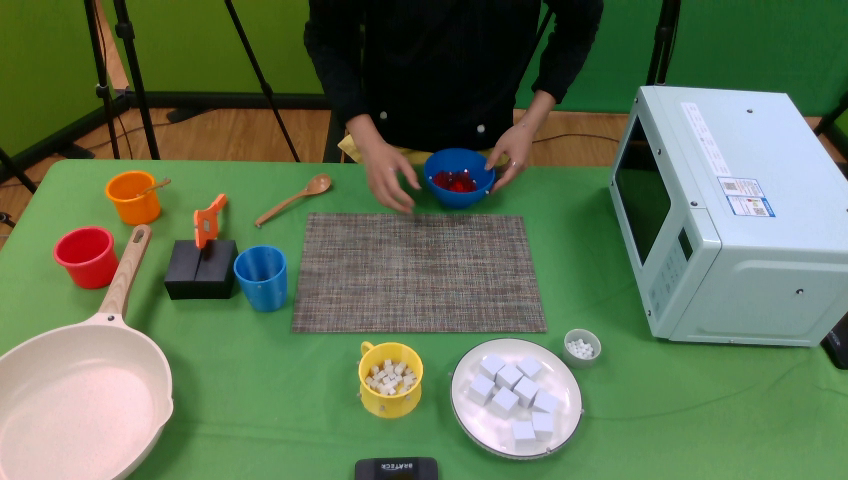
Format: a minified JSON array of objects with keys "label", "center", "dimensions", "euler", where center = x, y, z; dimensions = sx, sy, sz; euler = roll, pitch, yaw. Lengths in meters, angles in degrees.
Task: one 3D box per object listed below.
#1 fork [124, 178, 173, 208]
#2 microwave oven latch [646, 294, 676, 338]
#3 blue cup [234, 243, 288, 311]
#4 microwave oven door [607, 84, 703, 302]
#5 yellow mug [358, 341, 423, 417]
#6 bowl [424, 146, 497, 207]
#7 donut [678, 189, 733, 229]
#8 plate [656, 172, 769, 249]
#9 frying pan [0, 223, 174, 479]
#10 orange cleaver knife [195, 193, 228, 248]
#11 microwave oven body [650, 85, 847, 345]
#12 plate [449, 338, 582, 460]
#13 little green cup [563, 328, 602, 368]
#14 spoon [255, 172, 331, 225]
[{"label":"fork","center":[-0.525,-0.090,1.153],"dimensions":[0.207,0.019,0.028],"euler":[-18,27,45]},{"label":"microwave oven latch","center":[0.412,0.133,1.061],"dimensions":[0.030,0.029,0.078],"euler":[3,46,0]},{"label":"blue cup","center":[-0.276,0.072,1.052],"dimensions":[0.093,0.101,0.092],"euler":[1,48,-1]},{"label":"microwave oven door","center":[0.424,-0.096,1.138],"dimensions":[0.039,0.245,0.353],"euler":[3,46,-1]},{"label":"yellow mug","center":[-0.062,0.210,0.961],"dimensions":[0.100,0.064,0.130],"euler":[-29,54,-27]},{"label":"bowl","center":[0.074,-0.123,1.278],"dimensions":[0.151,0.077,0.150],"euler":[2,46,-2]},{"label":"donut","center":[0.544,-0.062,1.174],"dimensions":[0.099,0.048,0.098],"euler":[1,42,0]},{"label":"plate","center":[0.557,-0.054,1.186],"dimensions":[0.209,0.038,0.208],"euler":[1,44,-1]},{"label":"frying pan","center":[-0.504,0.169,0.941],"dimensions":[0.307,0.103,0.485],"euler":[5,54,-1]},{"label":"orange cleaver knife","center":[-0.406,-0.041,1.163],"dimensions":[0.012,0.077,0.210],"euler":[0,18,-3]},{"label":"microwave oven body","center":[0.569,-0.054,1.116],"dimensions":[0.326,0.261,0.439],"euler":[2,46,-1]},{"label":"plate","center":[0.141,0.251,0.955],"dimensions":[0.208,0.039,0.206],"euler":[2,46,-2]},{"label":"little green cup","center":[0.265,0.184,1.025],"dimensions":[0.061,0.039,0.061],"euler":[2,46,-2]},{"label":"spoon","center":[-0.272,-0.087,1.257],"dimensions":[0.041,0.022,0.193],"euler":[42,57,18]}]
